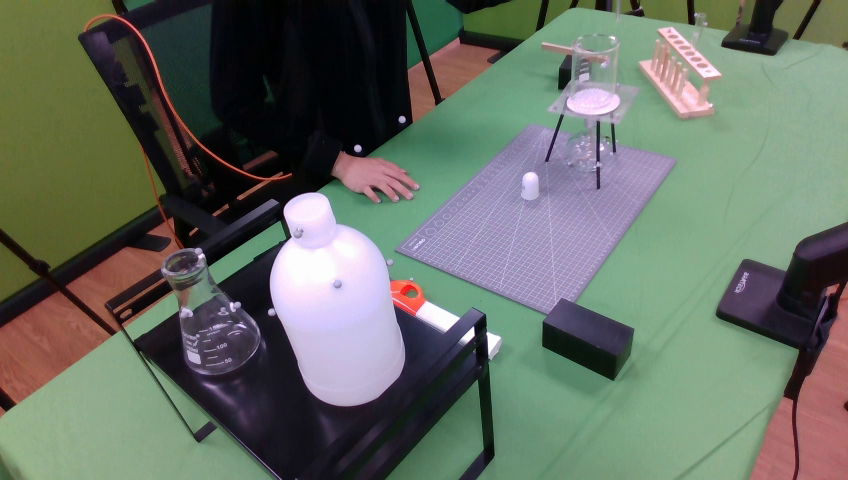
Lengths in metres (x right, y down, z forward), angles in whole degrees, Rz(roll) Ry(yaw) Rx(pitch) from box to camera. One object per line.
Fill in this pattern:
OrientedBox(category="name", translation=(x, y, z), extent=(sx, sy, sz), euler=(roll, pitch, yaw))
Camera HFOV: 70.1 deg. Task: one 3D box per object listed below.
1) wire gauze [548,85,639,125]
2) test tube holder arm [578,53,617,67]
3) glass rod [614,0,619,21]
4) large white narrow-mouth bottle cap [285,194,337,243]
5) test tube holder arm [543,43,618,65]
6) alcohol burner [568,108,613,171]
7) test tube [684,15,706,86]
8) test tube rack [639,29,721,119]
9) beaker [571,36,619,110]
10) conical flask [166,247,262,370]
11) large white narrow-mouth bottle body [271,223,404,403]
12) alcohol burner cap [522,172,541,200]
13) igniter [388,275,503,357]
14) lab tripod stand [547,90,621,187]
OrientedBox(category="wire gauze", translation=(0.286, -0.233, 1.020), extent=(0.124, 0.011, 0.122), euler=(15, 43, 30))
OrientedBox(category="test tube holder arm", translation=(0.376, -0.393, 1.314), extent=(0.087, 0.015, 0.010), euler=(26, 51, 32))
OrientedBox(category="glass rod", translation=(0.309, -0.449, 0.949), extent=(0.008, 0.200, 0.008), euler=(0, 16, 0))
OrientedBox(category="large white narrow-mouth bottle cap", translation=(-0.087, -0.017, 0.468), extent=(0.038, 0.024, 0.037), euler=(-5, 40, 4))
OrientedBox(category="test tube holder arm", translation=(0.344, -0.413, 1.340), extent=(0.177, 0.015, 0.013), euler=(25, 51, 31))
OrientedBox(category="alcohol burner", translation=(0.296, -0.182, 1.074), extent=(0.078, 0.119, 0.077), euler=(-5, 43, 5))
OrientedBox(category="test tube", translation=(0.541, -0.378, 1.215), extent=(0.017, 0.151, 0.017), euler=(-2, 44, 3))
OrientedBox(category="test tube rack", translation=(0.527, -0.351, 1.262), extent=(0.067, 0.085, 0.241), euler=(-7, 40, 1))
OrientedBox(category="beaker", translation=(0.281, -0.273, 0.992), extent=(0.084, 0.101, 0.073), euler=(-24, 42, -16))
OrientedBox(category="conical flask", translation=(-0.208, 0.064, 0.584), extent=(0.075, 0.122, 0.075), euler=(-5, 41, 4))
OrientedBox(category="large white narrow-mouth bottle body", translation=(-0.077, 0.048, 0.525), extent=(0.102, 0.195, 0.101), euler=(-5, 40, 5))
OrientedBox(category="alcohol burner cap", translation=(0.186, -0.096, 1.047), extent=(0.034, 0.048, 0.033), euler=(-5, 39, 4))
OrientedBox(category="igniter", translation=(-0.008, 0.093, 0.870), extent=(0.274, 0.025, 0.057), euler=(24, 60, 33))
OrientedBox(category="lab tripod stand", translation=(0.289, -0.184, 1.062), extent=(0.148, 0.132, 0.147), euler=(-6, 41, 6))
